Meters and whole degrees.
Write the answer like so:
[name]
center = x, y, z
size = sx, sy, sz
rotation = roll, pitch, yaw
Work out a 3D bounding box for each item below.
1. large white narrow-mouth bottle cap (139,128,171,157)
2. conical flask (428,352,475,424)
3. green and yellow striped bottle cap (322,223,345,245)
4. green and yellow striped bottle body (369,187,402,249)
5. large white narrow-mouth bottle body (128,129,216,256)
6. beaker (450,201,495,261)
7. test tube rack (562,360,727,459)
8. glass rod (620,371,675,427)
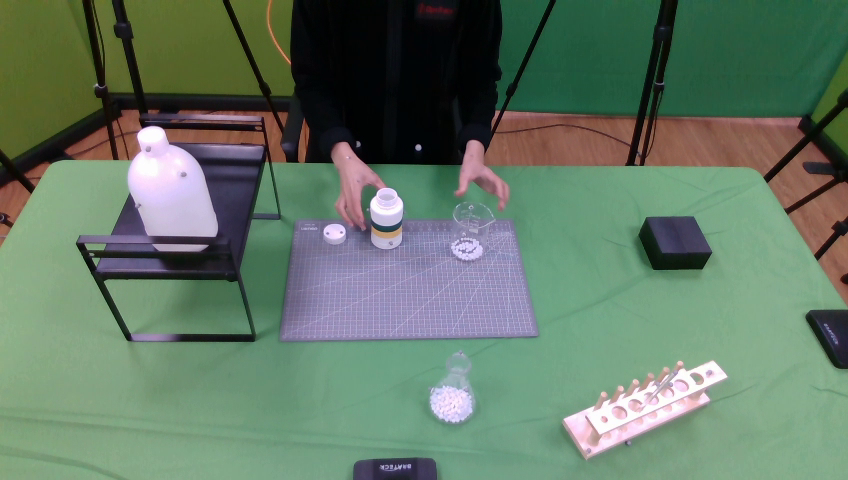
[large white narrow-mouth bottle cap]
center = -0.359, -0.131, 0.808
size = 0.038, 0.024, 0.037
rotation = 3, 47, -3
[conical flask]
center = 0.046, 0.220, 0.920
size = 0.075, 0.122, 0.075
rotation = 2, 46, -2
[green and yellow striped bottle cap]
center = -0.179, -0.013, 1.198
size = 0.045, 0.020, 0.045
rotation = 2, 48, -2
[green and yellow striped bottle body]
center = -0.073, -0.044, 1.162
size = 0.063, 0.120, 0.063
rotation = 2, 46, -2
[large white narrow-mouth bottle body]
center = -0.366, -0.073, 0.872
size = 0.102, 0.195, 0.101
rotation = 3, 47, -3
[beaker]
center = 0.089, -0.014, 1.161
size = 0.084, 0.101, 0.073
rotation = 8, 47, 4
[test tube rack]
center = 0.341, 0.247, 0.940
size = 0.243, 0.085, 0.066
rotation = -16, 49, -18
[glass rod]
center = 0.316, 0.230, 0.863
size = 0.008, 0.200, 0.008
rotation = 3, 54, -3
